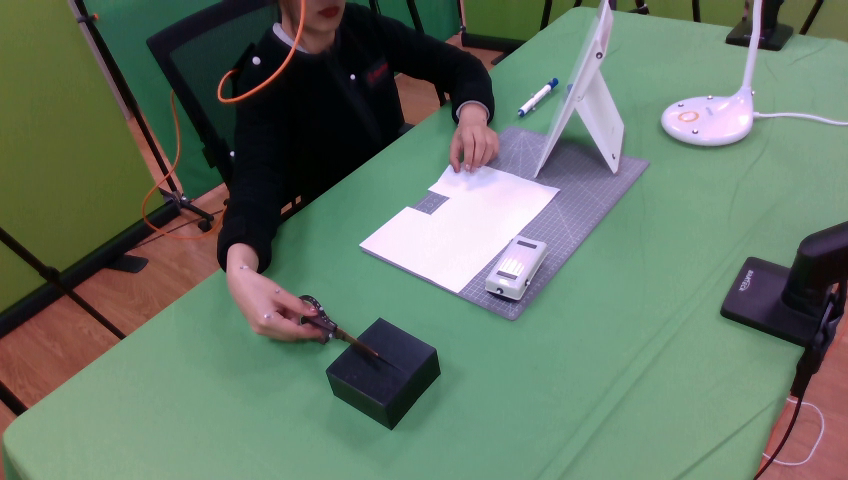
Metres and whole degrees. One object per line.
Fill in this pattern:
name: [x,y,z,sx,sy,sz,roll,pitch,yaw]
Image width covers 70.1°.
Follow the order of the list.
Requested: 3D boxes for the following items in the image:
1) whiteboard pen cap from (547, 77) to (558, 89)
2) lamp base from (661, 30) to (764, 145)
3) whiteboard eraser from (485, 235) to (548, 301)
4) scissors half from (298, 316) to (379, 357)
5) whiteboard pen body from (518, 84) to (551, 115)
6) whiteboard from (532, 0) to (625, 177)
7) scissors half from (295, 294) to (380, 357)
whiteboard pen cap: [0.279,-0.341,1.321,0.018,0.018,0.033,22,51,31]
lamp base: [0.535,-0.287,1.096,0.179,0.181,0.159,-10,40,-4]
whiteboard eraser: [0.137,0.042,0.887,0.055,0.042,0.113,15,45,27]
scissors half: [-0.116,0.132,0.808,0.013,0.040,0.173,-30,26,-37]
whiteboard pen body: [0.242,-0.306,1.290,0.017,0.017,0.141,24,52,33]
whiteboard: [0.320,-0.258,1.050,0.144,0.306,0.217,21,45,5]
scissors half: [-0.117,0.114,0.799,0.173,0.040,0.013,28,37,36]
